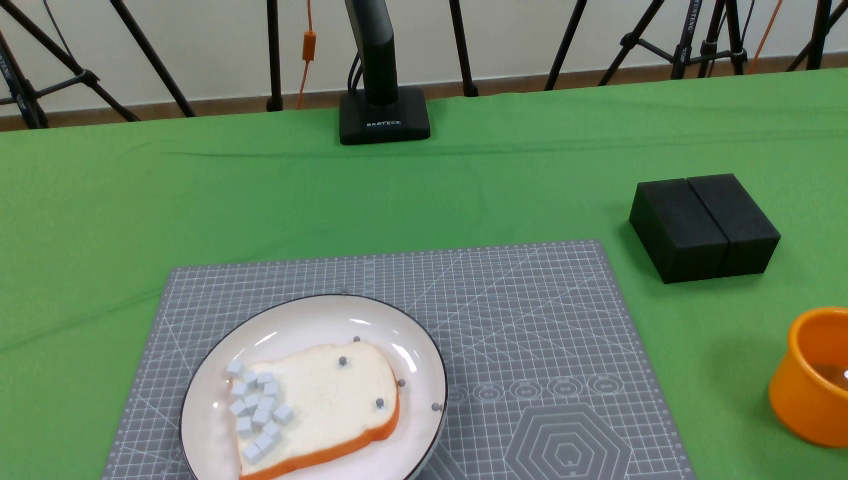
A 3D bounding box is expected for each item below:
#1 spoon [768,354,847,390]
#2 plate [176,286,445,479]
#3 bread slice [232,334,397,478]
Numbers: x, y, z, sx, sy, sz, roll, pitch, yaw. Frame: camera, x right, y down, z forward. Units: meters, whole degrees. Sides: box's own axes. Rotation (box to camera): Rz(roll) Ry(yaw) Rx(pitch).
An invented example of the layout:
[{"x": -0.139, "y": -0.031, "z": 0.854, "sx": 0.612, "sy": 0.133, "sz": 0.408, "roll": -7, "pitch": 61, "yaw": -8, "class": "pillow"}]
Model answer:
[{"x": 0.349, "y": 0.087, "z": 0.434, "sx": 0.041, "sy": 0.193, "sz": 0.022, "roll": -41, "pitch": 99, "yaw": -37, "class": "spoon"}, {"x": -0.087, "y": 0.125, "z": 0.487, "sx": 0.209, "sy": 0.038, "sz": 0.207, "roll": -1, "pitch": 44, "yaw": 1, "class": "plate"}, {"x": -0.089, "y": 0.123, "z": 0.493, "sx": 0.132, "sy": 0.019, "sz": 0.103, "roll": -15, "pitch": 46, "yaw": -11, "class": "bread slice"}]
